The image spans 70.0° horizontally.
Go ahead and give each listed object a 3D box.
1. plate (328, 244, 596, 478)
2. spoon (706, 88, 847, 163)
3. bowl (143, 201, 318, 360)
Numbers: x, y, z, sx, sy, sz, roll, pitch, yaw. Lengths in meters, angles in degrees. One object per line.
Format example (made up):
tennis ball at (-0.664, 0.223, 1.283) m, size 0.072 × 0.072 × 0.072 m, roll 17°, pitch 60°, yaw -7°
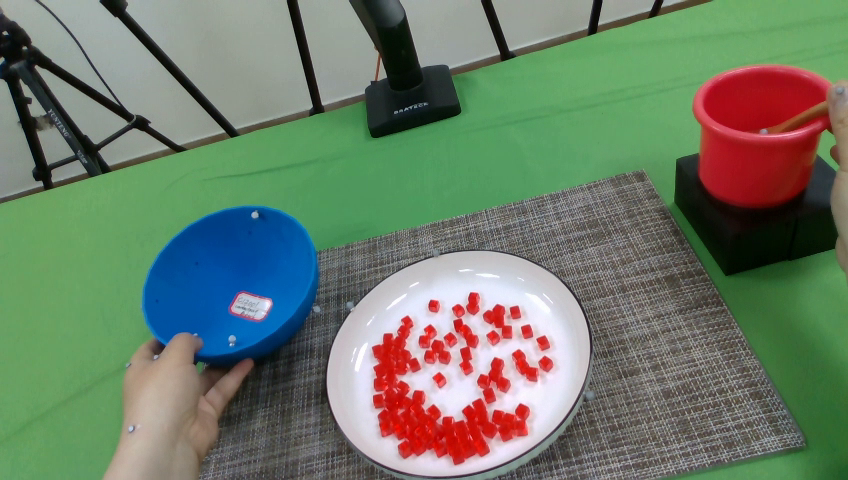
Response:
plate at (0.029, 0.090, 0.477) m, size 0.207 × 0.039 × 0.205 m, roll -10°, pitch 44°, yaw 10°
spoon at (0.277, -0.089, 0.425) m, size 0.022 × 0.193 × 0.041 m, roll 43°, pitch 71°, yaw -6°
bowl at (-0.161, 0.047, 0.545) m, size 0.151 × 0.077 × 0.150 m, roll -4°, pitch 56°, yaw 6°
